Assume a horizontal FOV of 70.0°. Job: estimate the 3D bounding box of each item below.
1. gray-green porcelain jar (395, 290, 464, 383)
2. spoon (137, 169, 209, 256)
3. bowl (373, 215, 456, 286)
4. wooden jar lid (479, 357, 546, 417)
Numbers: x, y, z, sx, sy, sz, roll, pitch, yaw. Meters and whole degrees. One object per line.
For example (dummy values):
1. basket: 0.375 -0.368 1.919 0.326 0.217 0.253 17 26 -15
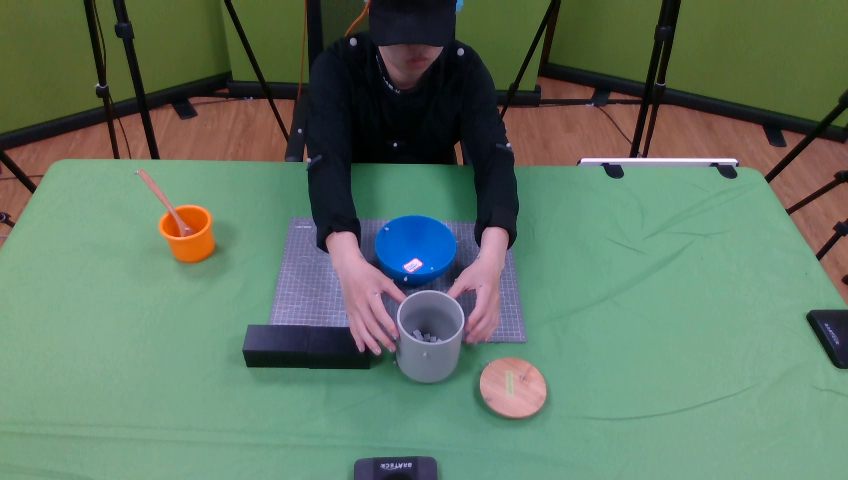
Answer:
1. gray-green porcelain jar: 0.006 0.160 0.972 0.106 0.127 0.105 2 46 -2
2. spoon: -0.466 -0.051 1.123 0.041 0.194 0.021 -40 17 -33
3. bowl: -0.019 0.033 1.122 0.151 0.077 0.150 3 46 -2
4. wooden jar lid: 0.142 0.240 0.979 0.108 0.021 0.107 1 46 -1
